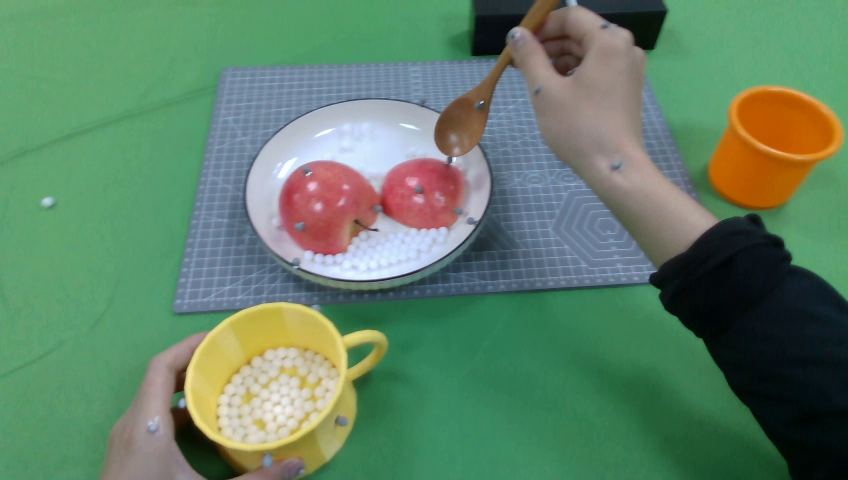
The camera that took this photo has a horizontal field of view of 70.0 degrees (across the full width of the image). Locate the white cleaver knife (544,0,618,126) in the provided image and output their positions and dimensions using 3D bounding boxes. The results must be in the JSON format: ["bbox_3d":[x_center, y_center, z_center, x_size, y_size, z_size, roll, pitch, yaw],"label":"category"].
[{"bbox_3d":[0.154,-0.212,0.633,0.021,0.066,0.283,-6,50,1],"label":"white cleaver knife"}]

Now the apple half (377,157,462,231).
[{"bbox_3d":[-0.004,-0.048,0.520,0.081,0.033,0.080,1,56,-1],"label":"apple half"}]

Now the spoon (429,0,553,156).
[{"bbox_3d":[0.057,-0.132,0.447,0.041,0.194,0.021,48,48,8],"label":"spoon"}]

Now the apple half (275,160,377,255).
[{"bbox_3d":[-0.083,-0.035,0.498,0.074,0.054,0.080,35,61,25],"label":"apple half"}]

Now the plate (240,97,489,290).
[{"bbox_3d":[-0.049,-0.041,0.522,0.209,0.038,0.207,1,54,-1],"label":"plate"}]

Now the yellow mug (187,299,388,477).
[{"bbox_3d":[-0.084,0.093,0.409,0.131,0.064,0.099,-22,58,-18],"label":"yellow mug"}]
